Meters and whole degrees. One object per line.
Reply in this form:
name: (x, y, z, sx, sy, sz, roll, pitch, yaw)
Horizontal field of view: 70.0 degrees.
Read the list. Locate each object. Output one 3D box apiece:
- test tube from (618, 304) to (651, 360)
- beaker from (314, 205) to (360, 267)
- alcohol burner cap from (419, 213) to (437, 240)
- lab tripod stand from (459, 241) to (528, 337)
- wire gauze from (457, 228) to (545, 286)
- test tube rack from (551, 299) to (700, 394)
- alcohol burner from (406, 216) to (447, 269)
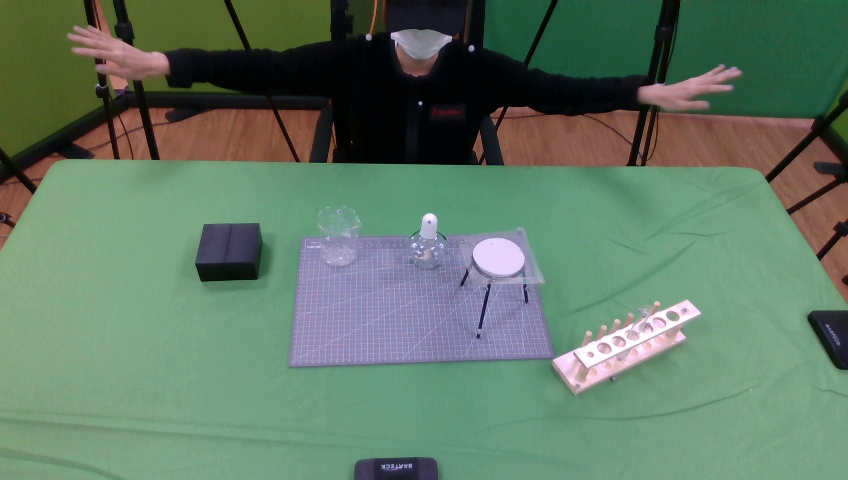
test tube: (0.335, 0.150, 0.967, 0.017, 0.151, 0.017, 0, 50, 0)
beaker: (-0.160, -0.004, 1.132, 0.084, 0.101, 0.073, 9, 46, 3)
alcohol burner cap: (0.009, -0.027, 1.109, 0.034, 0.048, 0.033, 3, 44, -3)
lab tripod stand: (0.122, 0.075, 1.054, 0.148, 0.132, 0.147, 3, 44, -3)
wire gauze: (0.126, 0.029, 1.006, 0.125, 0.011, 0.120, -4, 46, -10)
test tube rack: (0.339, 0.166, 1.021, 0.242, 0.085, 0.066, -19, 50, -21)
alcohol burner: (0.006, -0.002, 1.134, 0.078, 0.120, 0.077, 2, 48, -2)
